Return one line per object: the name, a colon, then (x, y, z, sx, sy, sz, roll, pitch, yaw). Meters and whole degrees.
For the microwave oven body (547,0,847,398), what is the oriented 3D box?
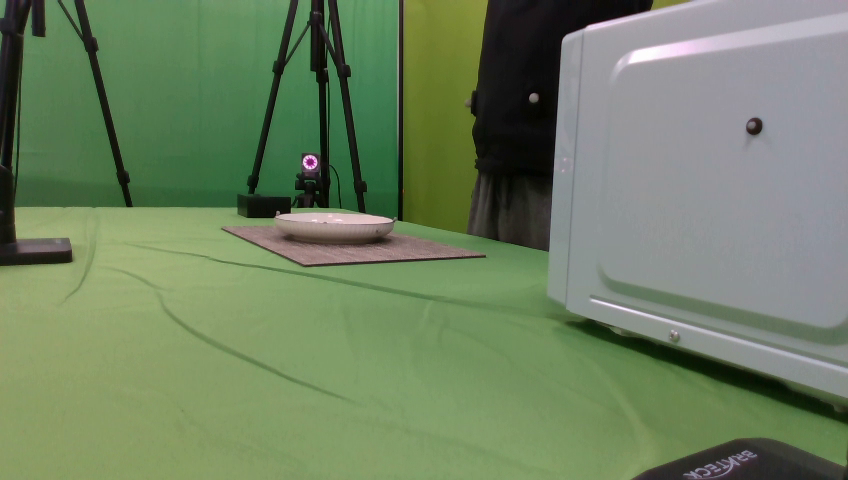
microwave oven body: (0.378, -0.045, 0.509, 0.444, 0.260, 0.324, -2, 8, -31)

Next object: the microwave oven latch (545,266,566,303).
microwave oven latch: (0.147, 0.039, 0.555, 0.079, 0.029, 0.030, -2, 7, -29)

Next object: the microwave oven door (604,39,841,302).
microwave oven door: (0.340, -0.070, 0.654, 0.358, 0.243, 0.039, -3, 9, -31)

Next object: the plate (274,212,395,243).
plate: (-0.157, -0.022, 1.066, 0.209, 0.038, 0.209, 2, 7, 0)
